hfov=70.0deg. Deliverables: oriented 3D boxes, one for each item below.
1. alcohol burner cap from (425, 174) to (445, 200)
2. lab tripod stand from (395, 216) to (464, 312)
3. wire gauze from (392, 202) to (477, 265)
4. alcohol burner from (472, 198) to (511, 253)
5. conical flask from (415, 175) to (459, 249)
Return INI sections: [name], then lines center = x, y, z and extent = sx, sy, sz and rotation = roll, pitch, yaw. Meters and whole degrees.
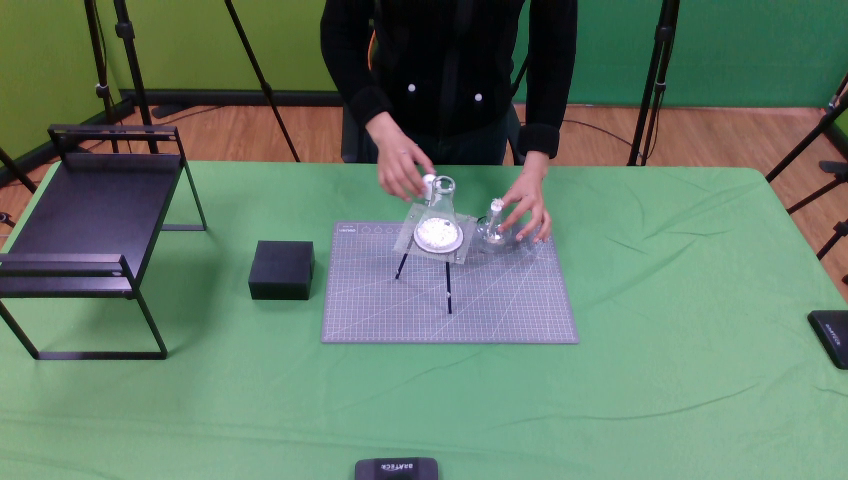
[alcohol burner cap]
center = 0.019, -0.100, 1.111
extent = 0.034, 0.048, 0.033
rotation = -10, 42, 9
[lab tripod stand]
center = 0.023, 0.037, 1.084
extent = 0.148, 0.132, 0.147
rotation = 4, 47, -4
[wire gauze]
center = 0.021, -0.011, 1.037
extent = 0.121, 0.011, 0.124
rotation = 13, 49, 8
[alcohol burner]
center = 0.133, -0.032, 1.172
extent = 0.078, 0.119, 0.077
rotation = 3, 44, -2
[conical flask]
center = 0.026, -0.049, 0.993
extent = 0.075, 0.122, 0.075
rotation = 3, 47, -3
